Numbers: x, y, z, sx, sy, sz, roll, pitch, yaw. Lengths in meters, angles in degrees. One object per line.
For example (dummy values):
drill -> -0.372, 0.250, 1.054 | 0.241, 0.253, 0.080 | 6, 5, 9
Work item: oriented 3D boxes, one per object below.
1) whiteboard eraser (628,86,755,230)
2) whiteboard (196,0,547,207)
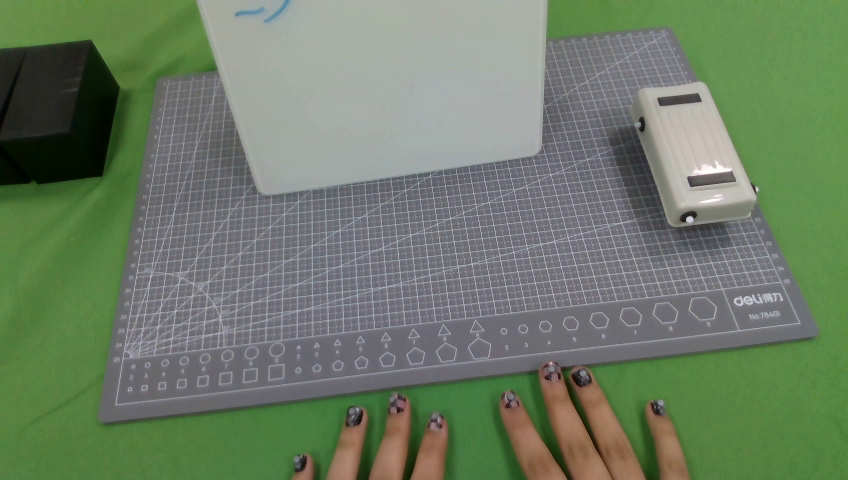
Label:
whiteboard eraser -> 0.188, -0.058, 0.435 | 0.055, 0.042, 0.111 | -5, 57, -1
whiteboard -> -0.037, -0.201, 0.414 | 0.217, 0.308, 0.142 | -8, 38, -2
